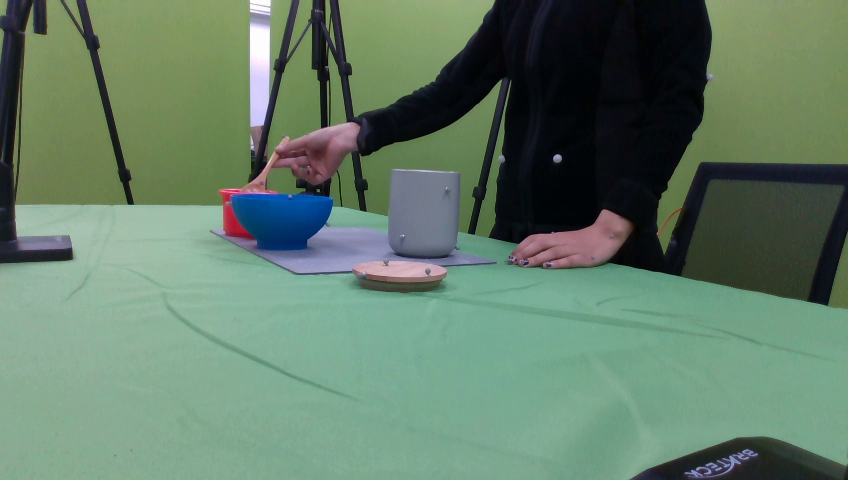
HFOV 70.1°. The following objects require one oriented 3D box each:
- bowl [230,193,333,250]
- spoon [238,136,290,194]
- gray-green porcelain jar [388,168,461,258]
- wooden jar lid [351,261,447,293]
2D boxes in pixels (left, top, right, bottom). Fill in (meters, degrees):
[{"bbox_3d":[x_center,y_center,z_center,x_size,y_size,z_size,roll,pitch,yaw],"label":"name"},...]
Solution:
[{"bbox_3d":[-0.214,-0.028,0.912,0.151,0.077,0.151,2,8,0],"label":"bowl"},{"bbox_3d":[-0.278,-0.129,1.081,0.041,0.021,0.193,21,50,-2],"label":"spoon"},{"bbox_3d":[0.000,-0.041,0.897,0.106,0.126,0.106,2,7,0],"label":"gray-green porcelain jar"},{"bbox_3d":[-0.028,0.041,0.687,0.108,0.020,0.108,3,8,0],"label":"wooden jar lid"}]
